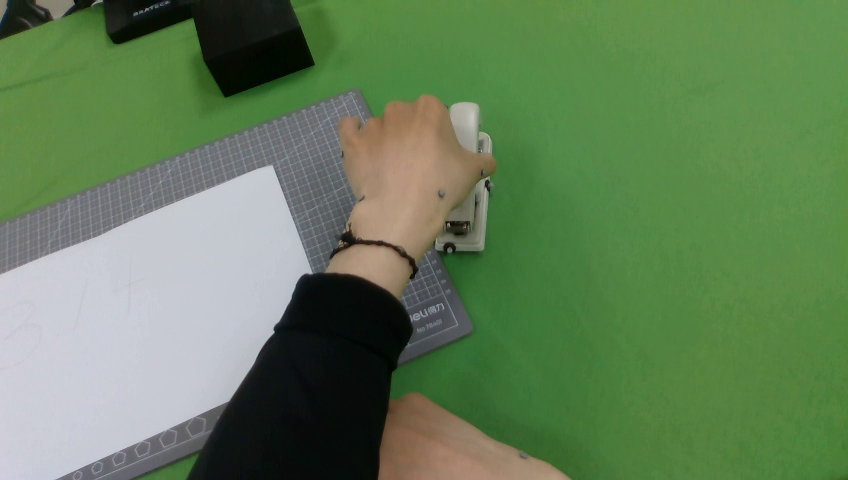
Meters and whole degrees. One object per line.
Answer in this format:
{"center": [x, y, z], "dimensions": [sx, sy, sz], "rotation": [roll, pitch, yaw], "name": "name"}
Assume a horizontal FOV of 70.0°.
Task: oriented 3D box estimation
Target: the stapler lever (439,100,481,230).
{"center": [0.030, -0.064, 0.495], "dimensions": [0.027, 0.040, 0.117], "rotation": [0, 58, 13], "name": "stapler lever"}

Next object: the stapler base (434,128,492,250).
{"center": [0.033, -0.052, 0.517], "dimensions": [0.041, 0.025, 0.129], "rotation": [0, 58, 13], "name": "stapler base"}
